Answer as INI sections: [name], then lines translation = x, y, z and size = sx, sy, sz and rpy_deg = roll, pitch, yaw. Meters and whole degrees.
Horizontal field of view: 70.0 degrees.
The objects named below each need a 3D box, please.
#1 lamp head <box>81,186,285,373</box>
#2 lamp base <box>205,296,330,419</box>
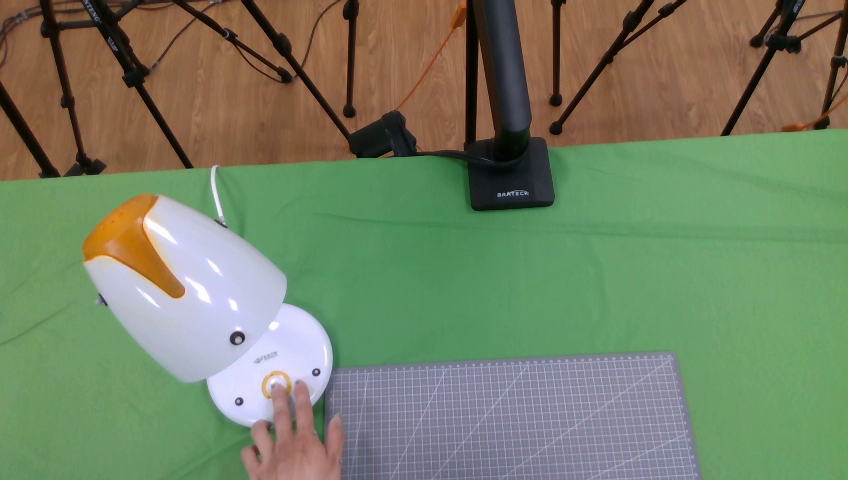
[lamp head]
translation = -0.183, 0.018, 0.445
size = 0.112, 0.124, 0.111
rpy_deg = -28, 29, 18
[lamp base]
translation = -0.211, 0.107, 0.713
size = 0.160, 0.181, 0.177
rpy_deg = -31, 66, -11
